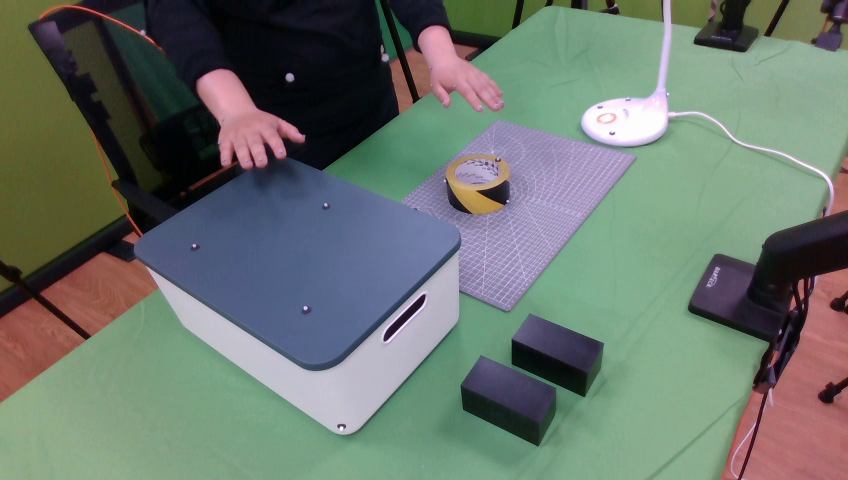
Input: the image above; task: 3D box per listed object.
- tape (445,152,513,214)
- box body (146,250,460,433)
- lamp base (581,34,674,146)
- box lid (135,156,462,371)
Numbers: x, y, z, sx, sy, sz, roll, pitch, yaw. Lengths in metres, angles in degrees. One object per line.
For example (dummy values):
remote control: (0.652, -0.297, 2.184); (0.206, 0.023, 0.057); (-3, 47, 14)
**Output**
tape: (0.095, -0.099, 1.043); (0.117, 0.053, 0.116); (-4, 41, 4)
box body: (-0.156, 0.058, 0.815); (0.361, 0.161, 0.255); (24, 49, 31)
lamp base: (0.392, -0.291, 1.129); (0.180, 0.181, 0.159); (-11, 41, -8)
box lid: (-0.162, 0.004, 0.765); (0.368, 0.015, 0.264); (23, 49, 31)
